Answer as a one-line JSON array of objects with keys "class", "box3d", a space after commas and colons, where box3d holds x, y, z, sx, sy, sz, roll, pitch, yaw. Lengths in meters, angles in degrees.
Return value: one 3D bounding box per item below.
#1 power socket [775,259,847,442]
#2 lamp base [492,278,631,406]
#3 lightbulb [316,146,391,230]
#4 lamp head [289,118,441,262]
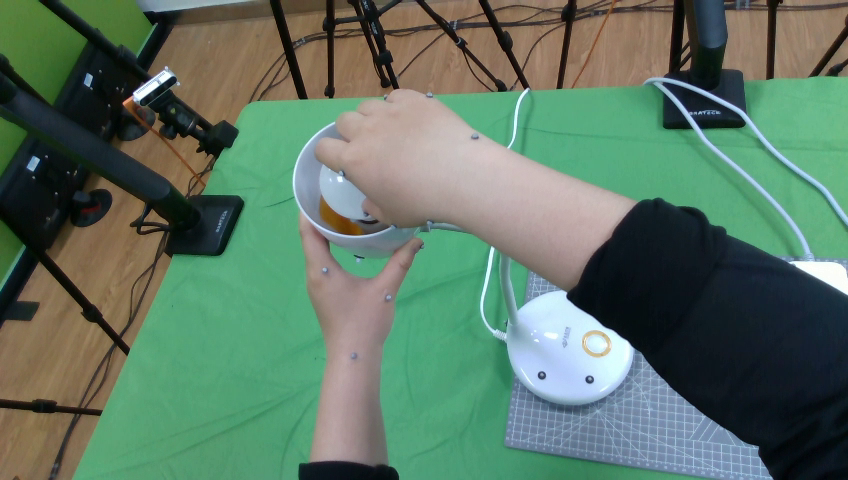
[{"class": "power socket", "box3d": [0.468, 0.122, 0.717, 0.072, 0.033, 0.225, 2, 58, 17]}, {"class": "lamp base", "box3d": [0.155, 0.099, 0.735, 0.178, 0.182, 0.159, -4, 57, 18]}, {"class": "lightbulb", "box3d": [-0.054, -0.036, 0.504, 0.059, 0.108, 0.059, -2, 70, 5]}, {"class": "lamp head", "box3d": [-0.043, -0.029, 0.531, 0.112, 0.124, 0.111, -4, 67, 10]}]
